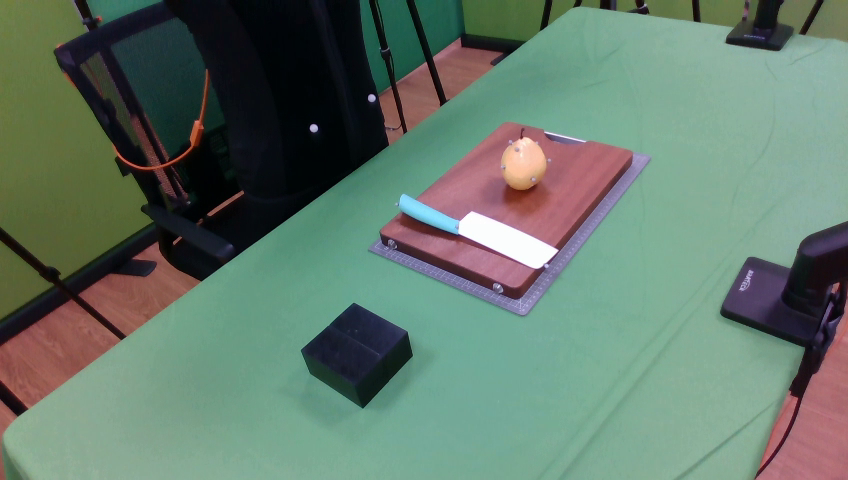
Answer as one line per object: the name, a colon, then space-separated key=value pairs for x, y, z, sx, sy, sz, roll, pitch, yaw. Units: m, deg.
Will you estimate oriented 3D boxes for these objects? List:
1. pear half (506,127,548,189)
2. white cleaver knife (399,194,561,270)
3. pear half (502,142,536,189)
pear half: x=0.174 y=-0.145 z=1.011 sx=0.076 sy=0.110 sz=0.056 roll=27 pitch=52 yaw=30
white cleaver knife: x=0.079 y=-0.019 z=0.958 sx=0.284 sy=0.021 sz=0.066 roll=26 pitch=46 yaw=28
pear half: x=0.152 y=-0.119 z=1.000 sx=0.070 sy=0.088 sz=0.031 roll=28 pitch=53 yaw=30
